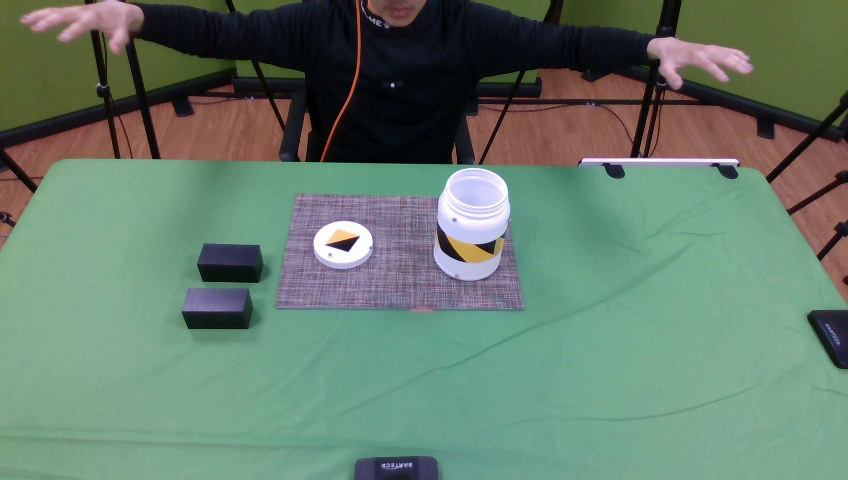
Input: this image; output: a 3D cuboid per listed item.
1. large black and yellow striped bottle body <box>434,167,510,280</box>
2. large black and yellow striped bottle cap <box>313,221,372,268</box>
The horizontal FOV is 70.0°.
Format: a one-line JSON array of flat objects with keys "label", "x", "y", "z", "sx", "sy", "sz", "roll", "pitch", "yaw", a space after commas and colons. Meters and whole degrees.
[{"label": "large black and yellow striped bottle body", "x": 0.087, "y": -0.031, "z": 1.114, "sx": 0.131, "sy": 0.185, "sz": 0.130, "roll": 2, "pitch": 46, "yaw": -2}, {"label": "large black and yellow striped bottle cap", "x": -0.158, "y": 0.007, "z": 1.176, "sx": 0.115, "sy": 0.019, "sz": 0.114, "roll": 2, "pitch": 45, "yaw": -2}]
